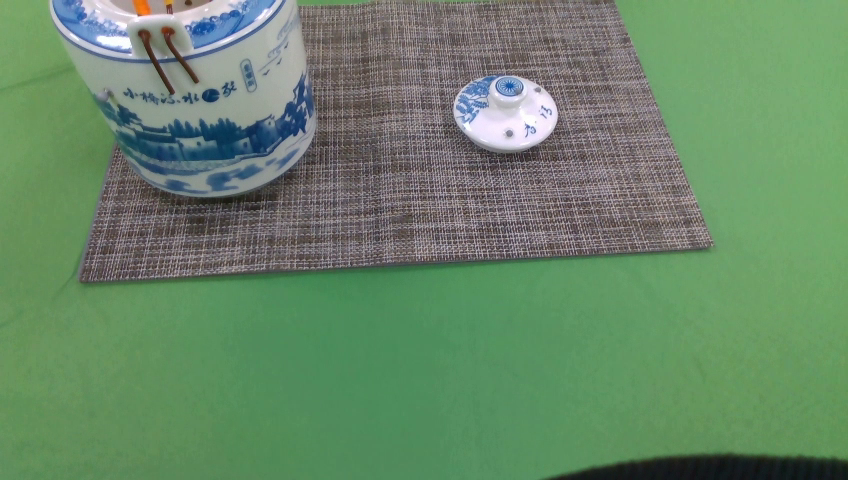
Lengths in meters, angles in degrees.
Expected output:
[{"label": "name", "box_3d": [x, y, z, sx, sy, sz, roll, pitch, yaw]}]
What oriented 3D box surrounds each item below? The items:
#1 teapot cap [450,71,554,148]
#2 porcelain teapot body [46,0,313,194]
[{"label": "teapot cap", "box_3d": [0.063, -0.111, 0.489, 0.085, 0.044, 0.084, -1, 55, 1]}, {"label": "porcelain teapot body", "box_3d": [-0.162, -0.167, 0.407, 0.145, 0.227, 0.203, -9, 57, -7]}]
